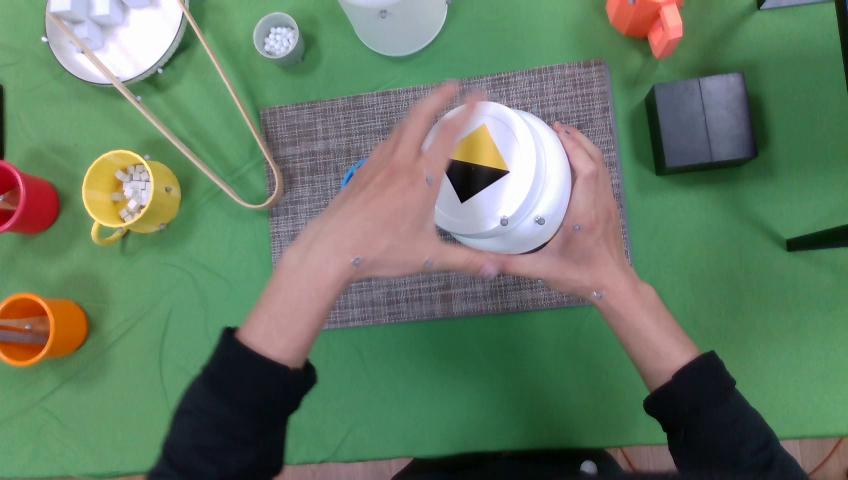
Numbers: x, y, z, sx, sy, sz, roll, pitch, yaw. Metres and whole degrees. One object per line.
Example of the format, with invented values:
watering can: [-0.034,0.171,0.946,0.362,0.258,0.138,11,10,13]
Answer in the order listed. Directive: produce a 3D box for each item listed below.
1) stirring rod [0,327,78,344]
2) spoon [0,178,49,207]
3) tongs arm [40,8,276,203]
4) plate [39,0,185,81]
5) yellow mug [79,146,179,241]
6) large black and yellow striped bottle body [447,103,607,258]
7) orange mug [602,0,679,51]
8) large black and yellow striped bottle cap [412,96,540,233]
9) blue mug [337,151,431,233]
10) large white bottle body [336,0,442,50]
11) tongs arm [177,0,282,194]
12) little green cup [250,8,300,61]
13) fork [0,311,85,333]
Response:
stirring rod: [-0.534,0.116,0.760,0.006,0.177,0.014,-21,62,49]
spoon: [-0.591,-0.042,0.780,0.194,0.021,0.041,-25,78,-40]
tongs arm: [-0.347,-0.179,0.791,0.051,0.026,0.384,-45,89,-1]
plate: [-0.422,-0.316,0.832,0.207,0.039,0.207,-1,86,8]
yellow mug: [-0.393,-0.054,0.794,0.099,0.064,0.131,32,91,9]
large black and yellow striped bottle body: [0.087,-0.053,0.579,0.130,0.185,0.130,-4,82,32]
orange mug: [0.264,-0.291,0.708,0.083,0.101,0.125,-16,79,6]
large black and yellow striped bottle cap: [0.041,-0.063,0.509,0.114,0.019,0.114,-5,81,31]
blue mug: [-0.035,-0.049,0.722,0.116,0.106,0.082,19,88,9]
large white bottle body: [-0.051,-0.319,0.708,0.130,0.185,0.130,-1,85,8]
tongs arm: [-0.282,-0.233,0.790,0.028,0.028,0.387,-30,89,-4]
little green cup: [-0.194,-0.268,0.797,0.061,0.039,0.061,0,86,8]
fork: [-0.544,0.098,0.759,0.209,0.018,0.028,10,84,-35]
